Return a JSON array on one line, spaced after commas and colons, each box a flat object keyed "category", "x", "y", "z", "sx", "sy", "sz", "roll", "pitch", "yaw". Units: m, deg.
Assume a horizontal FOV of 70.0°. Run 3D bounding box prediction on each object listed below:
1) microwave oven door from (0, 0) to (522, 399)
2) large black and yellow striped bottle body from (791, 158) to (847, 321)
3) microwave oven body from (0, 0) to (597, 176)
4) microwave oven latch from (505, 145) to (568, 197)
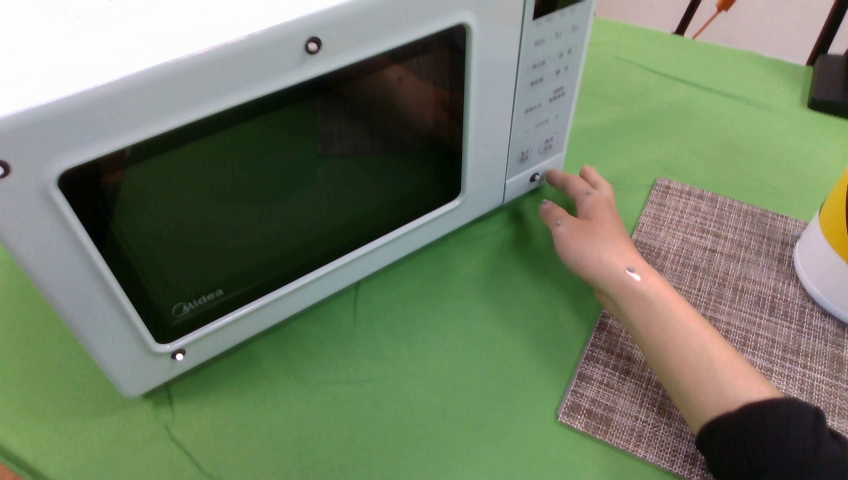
[{"category": "microwave oven door", "x": -0.082, "y": -0.046, "z": 0.429, "sx": 0.356, "sy": 0.246, "sz": 0.039, "roll": -28, "pitch": 53, "yaw": -22}, {"category": "large black and yellow striped bottle body", "x": 0.386, "y": -0.028, "z": 0.462, "sx": 0.131, "sy": 0.185, "sz": 0.129, "roll": 0, "pitch": 48, "yaw": 1}, {"category": "microwave oven body", "x": -0.130, "y": -0.148, "z": 0.529, "sx": 0.442, "sy": 0.262, "sz": 0.322, "roll": -28, "pitch": 54, "yaw": -22}, {"category": "microwave oven latch", "x": 0.102, "y": -0.072, "z": 0.587, "sx": 0.079, "sy": 0.030, "sz": 0.030, "roll": -26, "pitch": 53, "yaw": -20}]
